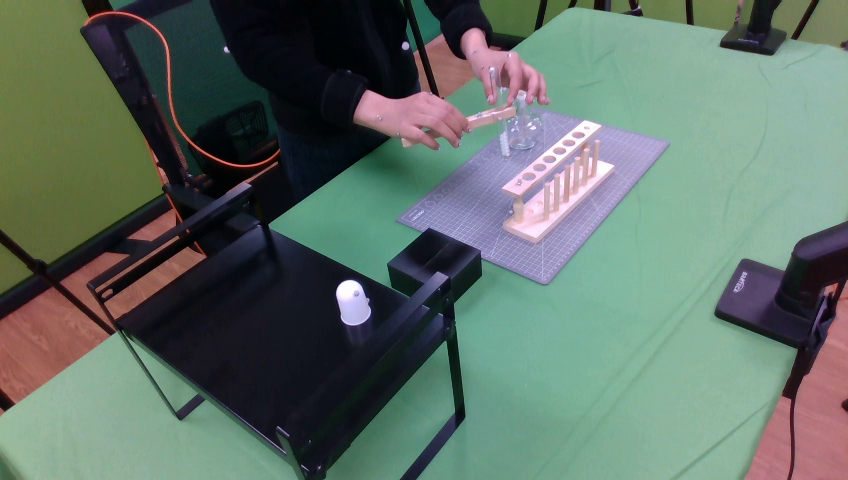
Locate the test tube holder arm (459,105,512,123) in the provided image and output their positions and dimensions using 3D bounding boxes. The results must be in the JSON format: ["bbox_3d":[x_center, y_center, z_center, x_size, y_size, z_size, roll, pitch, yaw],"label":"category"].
[{"bbox_3d":[0.094,-0.185,0.915,0.088,0.015,0.010,-22,26,-15],"label":"test tube holder arm"}]

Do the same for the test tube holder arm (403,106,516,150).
[{"bbox_3d":[0.054,-0.168,0.901,0.179,0.015,0.013,-19,25,-10],"label":"test tube holder arm"}]

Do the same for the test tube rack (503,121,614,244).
[{"bbox_3d":[0.230,-0.102,1.006,0.066,0.085,0.243,26,51,34],"label":"test tube rack"}]

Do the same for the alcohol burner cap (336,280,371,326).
[{"bbox_3d":[-0.073,0.061,0.619,0.034,0.048,0.033,-4,41,4],"label":"alcohol burner cap"}]

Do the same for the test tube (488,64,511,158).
[{"bbox_3d":[0.116,-0.193,0.916,0.017,0.151,0.017,-10,34,7],"label":"test tube"}]

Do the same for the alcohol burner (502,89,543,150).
[{"bbox_3d":[0.186,-0.233,1.147,0.078,0.119,0.077,-5,42,5],"label":"alcohol burner"}]
